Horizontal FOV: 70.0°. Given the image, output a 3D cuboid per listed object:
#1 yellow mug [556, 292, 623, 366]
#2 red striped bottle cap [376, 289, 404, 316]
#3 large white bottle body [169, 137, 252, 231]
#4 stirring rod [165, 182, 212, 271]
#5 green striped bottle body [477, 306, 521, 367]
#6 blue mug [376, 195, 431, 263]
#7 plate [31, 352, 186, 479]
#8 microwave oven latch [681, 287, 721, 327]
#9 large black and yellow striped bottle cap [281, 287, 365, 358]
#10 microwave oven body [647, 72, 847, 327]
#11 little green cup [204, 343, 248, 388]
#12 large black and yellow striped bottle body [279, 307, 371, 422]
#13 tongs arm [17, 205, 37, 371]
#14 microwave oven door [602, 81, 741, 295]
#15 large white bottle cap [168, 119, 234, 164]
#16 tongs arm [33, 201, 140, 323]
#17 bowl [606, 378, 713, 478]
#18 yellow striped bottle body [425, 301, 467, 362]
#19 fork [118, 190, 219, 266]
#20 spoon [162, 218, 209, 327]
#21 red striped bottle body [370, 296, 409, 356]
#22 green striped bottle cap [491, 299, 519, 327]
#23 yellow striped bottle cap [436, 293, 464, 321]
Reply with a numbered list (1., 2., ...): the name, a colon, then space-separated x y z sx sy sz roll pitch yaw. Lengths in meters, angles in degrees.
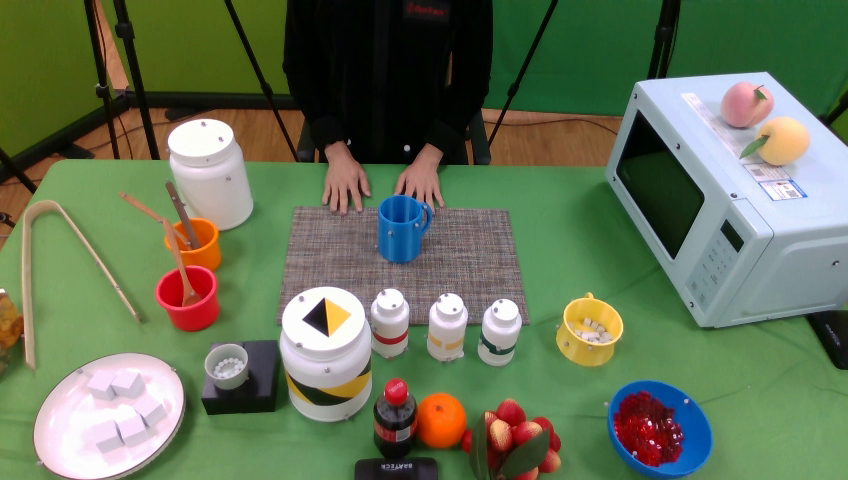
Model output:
1. yellow mug: 0.285 0.145 1.051 0.100 0.064 0.130 7 45 3
2. red striped bottle cap: -0.055 0.098 0.958 0.044 0.018 0.044 0 48 1
3. large white bottle body: -0.412 -0.122 1.170 0.131 0.185 0.130 2 46 -2
4. stirring rod: -0.430 -0.025 1.107 0.014 0.006 0.176 -26 95 -20
5. green striped bottle body: 0.124 0.151 0.995 0.063 0.120 0.063 2 46 -2
6. blue mug: -0.035 -0.027 1.159 0.116 0.106 0.082 -24 53 -25
7. plate: -0.459 0.262 0.898 0.209 0.038 0.208 2 46 -2
8. microwave oven latch: 0.494 0.119 1.087 0.030 0.029 0.078 -6 46 -9
9. large black and yellow striped bottle cap: -0.141 0.112 0.847 0.115 0.019 0.114 5 45 -4
10. microwave oven body: 0.607 -0.089 1.164 0.326 0.261 0.438 -7 46 -10
11. little green cup: -0.294 0.190 0.909 0.061 0.039 0.061 1 48 -1
12. large black and yellow striped bottle body: -0.145 0.173 0.907 0.131 0.185 0.130 2 46 -2
13. tongs arm: -0.698 0.072 1.069 0.028 0.028 0.385 -21 51 -13
14. microwave oven door: 0.456 -0.107 1.162 0.039 0.245 0.353 -6 47 -11
15. large white bottle cap: -0.407 -0.181 1.108 0.115 0.018 0.114 2 47 -2
16. tongs arm: -0.623 0.035 1.105 0.051 0.026 0.382 -33 56 -25
17. bowl: 0.340 0.292 0.906 0.151 0.077 0.150 2 46 -2
18. yellow striped bottle body: 0.037 0.142 0.996 0.063 0.121 0.062 3 47 -2
19. fork: -0.459 -0.020 1.092 0.208 0.018 0.028 44 44 -24
20. spoon: -0.410 0.054 1.029 0.041 0.021 0.194 -17 94 -15
21. red striped bottle body: -0.058 0.134 0.997 0.063 0.120 0.062 4 47 -4
22. green striped bottle cap: 0.128 0.115 0.958 0.044 0.020 0.044 1 47 -1
23. yellow striped bottle cap: 0.041 0.106 0.959 0.044 0.019 0.044 -1 49 1
